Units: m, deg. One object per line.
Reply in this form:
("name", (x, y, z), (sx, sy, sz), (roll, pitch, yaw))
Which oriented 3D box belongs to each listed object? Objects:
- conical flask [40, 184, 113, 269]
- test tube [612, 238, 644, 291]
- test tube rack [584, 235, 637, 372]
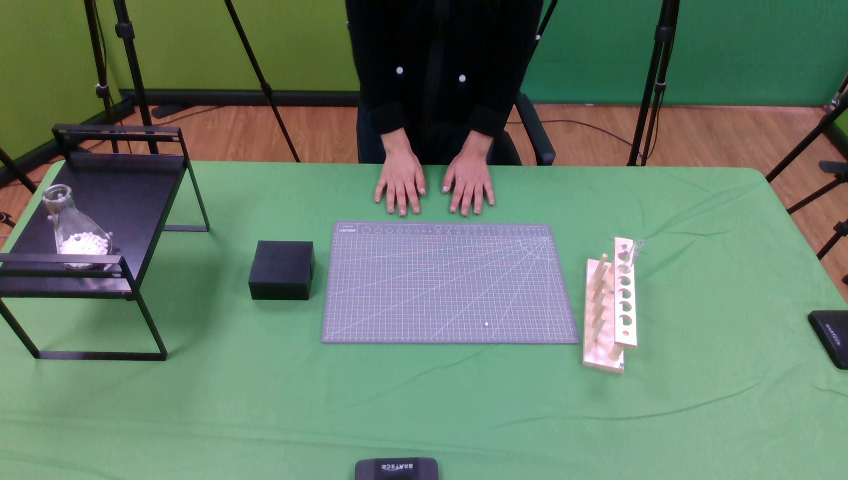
("conical flask", (-0.501, -0.022, 0.861), (0.075, 0.122, 0.075), (1, 46, -1))
("test tube", (0.355, 0.046, 1.061), (0.017, 0.151, 0.017), (1, 54, -1))
("test tube rack", (0.329, 0.103, 1.073), (0.067, 0.085, 0.241), (11, 47, 7))
